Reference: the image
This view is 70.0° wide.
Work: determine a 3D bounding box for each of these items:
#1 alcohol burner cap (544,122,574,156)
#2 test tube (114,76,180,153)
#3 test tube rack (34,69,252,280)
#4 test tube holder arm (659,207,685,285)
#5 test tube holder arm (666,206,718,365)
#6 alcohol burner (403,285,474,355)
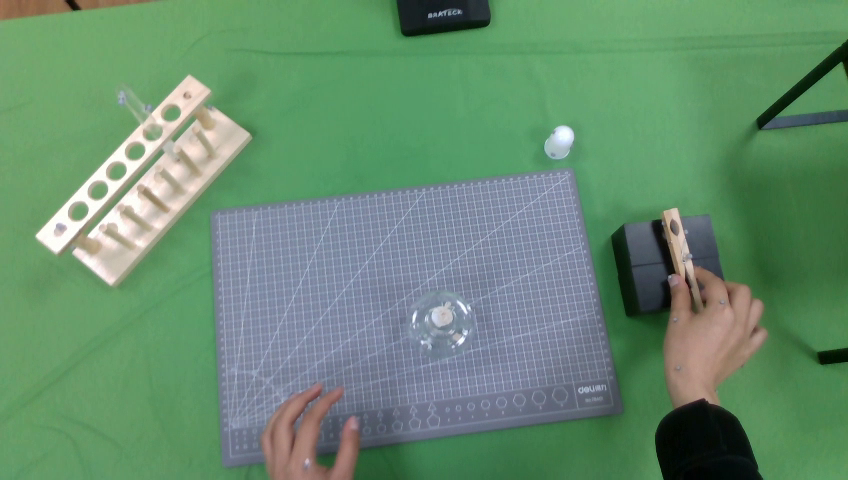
[{"bbox_3d":[0.168,-0.126,0.746,0.034,0.048,0.033,0,75,0],"label":"alcohol burner cap"},{"bbox_3d":[-0.299,-0.133,0.667,0.017,0.151,0.017,0,72,-1],"label":"test tube"},{"bbox_3d":[-0.315,-0.074,0.703,0.066,0.085,0.242,37,78,8],"label":"test tube rack"},{"bbox_3d":[0.278,0.007,0.675,0.010,0.015,0.087,-14,81,11],"label":"test tube holder arm"},{"bbox_3d":[0.294,0.049,0.667,0.013,0.015,0.177,-16,81,11],"label":"test tube holder arm"},{"bbox_3d":[0.016,0.084,0.653,0.078,0.119,0.077,1,74,-1],"label":"alcohol burner"}]
